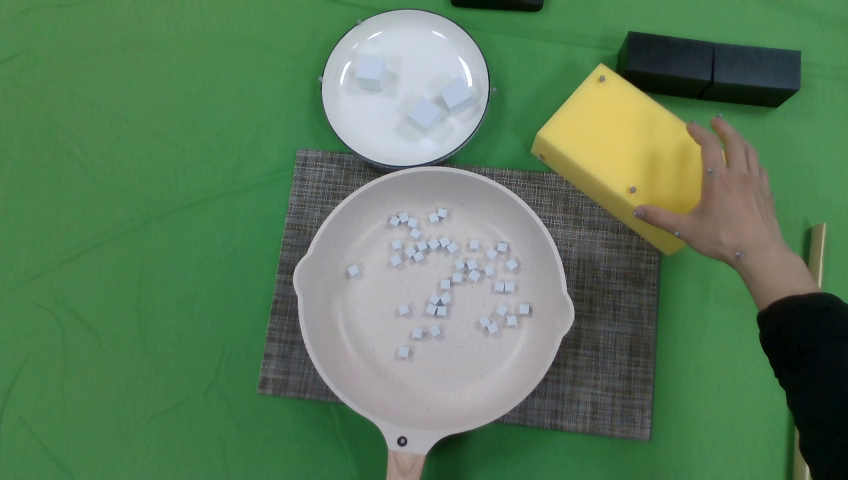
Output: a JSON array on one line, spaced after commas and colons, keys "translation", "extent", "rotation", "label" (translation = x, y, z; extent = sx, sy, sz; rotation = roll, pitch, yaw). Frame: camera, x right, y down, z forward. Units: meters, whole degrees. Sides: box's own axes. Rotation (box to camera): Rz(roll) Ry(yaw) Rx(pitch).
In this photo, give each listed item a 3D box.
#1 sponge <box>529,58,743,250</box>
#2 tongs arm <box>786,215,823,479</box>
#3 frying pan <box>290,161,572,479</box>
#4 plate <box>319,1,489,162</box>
[{"translation": [0.242, -0.100, 0.710], "extent": [0.206, 0.061, 0.118], "rotation": [39, 81, 10], "label": "sponge"}, {"translation": [0.429, 0.160, 0.676], "extent": [0.028, 0.028, 0.386], "rotation": [9, 80, 2], "label": "tongs arm"}, {"translation": [-0.011, 0.156, 0.649], "extent": [0.306, 0.103, 0.485], "rotation": [9, 72, 5], "label": "frying pan"}, {"translation": [-0.024, -0.193, 0.751], "extent": [0.207, 0.039, 0.207], "rotation": [0, 80, 2], "label": "plate"}]
